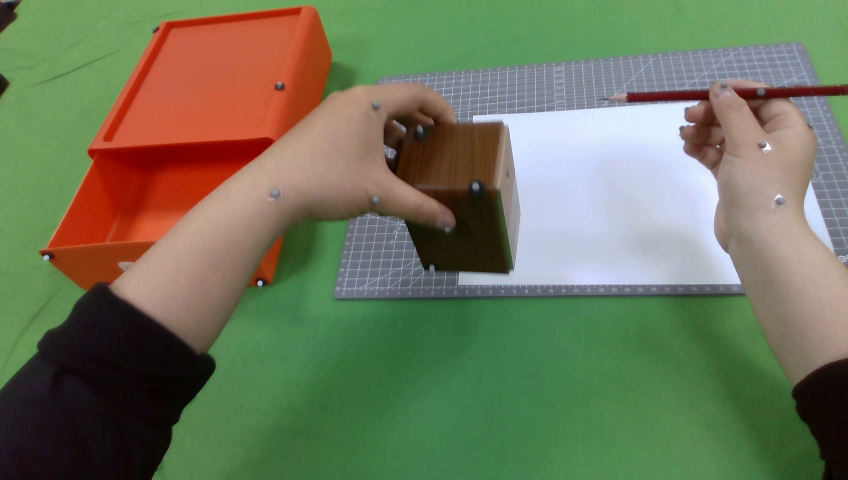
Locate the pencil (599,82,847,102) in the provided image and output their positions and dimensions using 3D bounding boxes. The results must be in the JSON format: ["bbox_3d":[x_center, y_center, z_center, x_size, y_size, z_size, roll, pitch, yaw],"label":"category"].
[{"bbox_3d":[0.225,-0.105,0.431,0.193,0.012,0.012,3,55,21],"label":"pencil"}]

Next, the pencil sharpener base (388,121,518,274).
[{"bbox_3d":[0.023,-0.026,0.432,0.076,0.108,0.061,0,57,15],"label":"pencil sharpener base"}]

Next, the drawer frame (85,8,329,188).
[{"bbox_3d":[-0.224,-0.150,0.662,0.201,0.083,0.211,-3,53,10],"label":"drawer frame"}]

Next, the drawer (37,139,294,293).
[{"bbox_3d":[-0.232,-0.053,0.596,0.194,0.074,0.210,-3,53,11],"label":"drawer"}]

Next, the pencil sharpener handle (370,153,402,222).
[{"bbox_3d":[-0.029,-0.033,0.435,0.030,0.068,0.035,0,59,15],"label":"pencil sharpener handle"}]
